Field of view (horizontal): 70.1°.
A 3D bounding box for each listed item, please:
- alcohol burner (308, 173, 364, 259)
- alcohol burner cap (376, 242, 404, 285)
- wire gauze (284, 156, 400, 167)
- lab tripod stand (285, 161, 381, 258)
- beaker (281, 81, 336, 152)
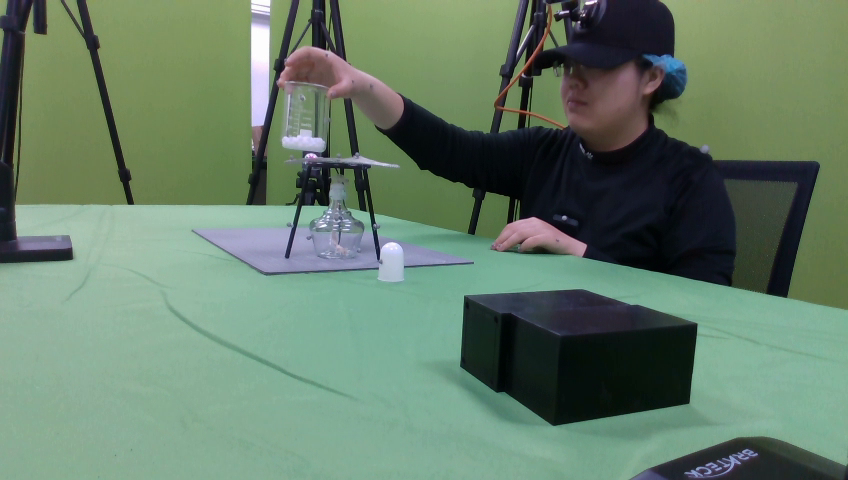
[{"bbox_3d":[-0.121,-0.033,0.843,0.078,0.119,0.078,3,5,0],"label":"alcohol burner"},{"bbox_3d":[-0.039,0.026,0.710,0.034,0.048,0.034,3,6,0],"label":"alcohol burner cap"},{"bbox_3d":[-0.115,-0.109,0.835,0.126,0.011,0.121,-3,10,-30],"label":"wire gauze"},{"bbox_3d":[-0.123,-0.043,0.842,0.148,0.131,0.148,3,9,0],"label":"lab tripod stand"},{"bbox_3d":[-0.182,-0.189,0.940,0.084,0.100,0.073,3,8,-21],"label":"beaker"}]
